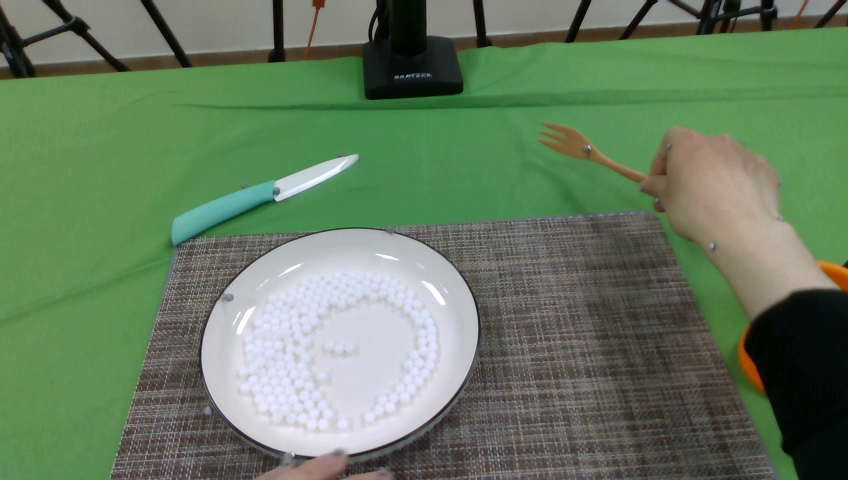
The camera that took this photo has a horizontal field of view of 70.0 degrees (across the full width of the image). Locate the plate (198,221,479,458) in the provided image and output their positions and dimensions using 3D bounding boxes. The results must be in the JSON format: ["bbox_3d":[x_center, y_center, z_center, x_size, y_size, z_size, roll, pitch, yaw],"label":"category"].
[{"bbox_3d":[-0.062,0.070,0.466,0.209,0.038,0.207,0,47,1],"label":"plate"}]

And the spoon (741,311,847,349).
[{"bbox_3d":[0.305,0.061,0.401,0.041,0.193,0.022,-35,100,-28],"label":"spoon"}]

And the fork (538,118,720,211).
[{"bbox_3d":[0.180,-0.073,0.563,0.019,0.028,0.205,-8,32,-33],"label":"fork"}]

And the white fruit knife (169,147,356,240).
[{"bbox_3d":[-0.156,-0.054,0.604,0.207,0.016,0.027,-27,76,-27],"label":"white fruit knife"}]
